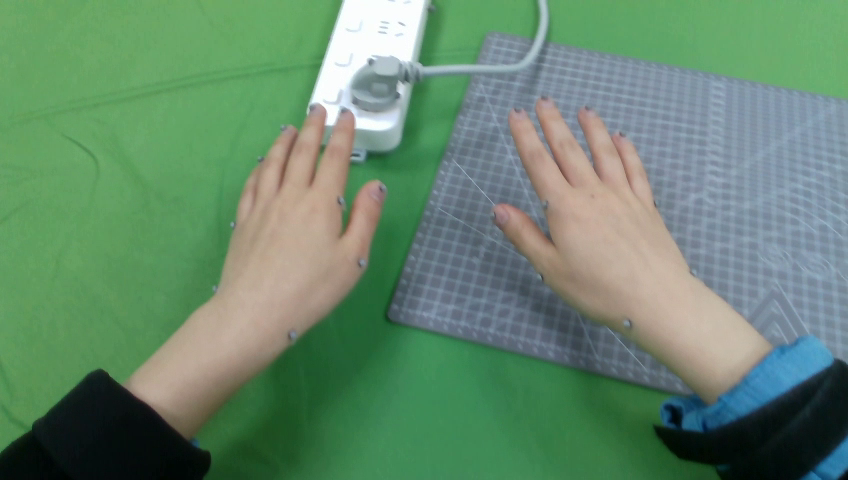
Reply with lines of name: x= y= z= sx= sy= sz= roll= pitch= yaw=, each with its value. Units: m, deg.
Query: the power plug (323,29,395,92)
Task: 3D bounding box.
power plug: x=-0.040 y=-0.136 z=0.437 sx=0.035 sy=0.073 sz=0.052 roll=30 pitch=74 yaw=9

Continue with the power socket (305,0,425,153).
power socket: x=-0.044 y=-0.171 z=0.514 sx=0.072 sy=0.033 sz=0.225 roll=8 pitch=59 yaw=3
